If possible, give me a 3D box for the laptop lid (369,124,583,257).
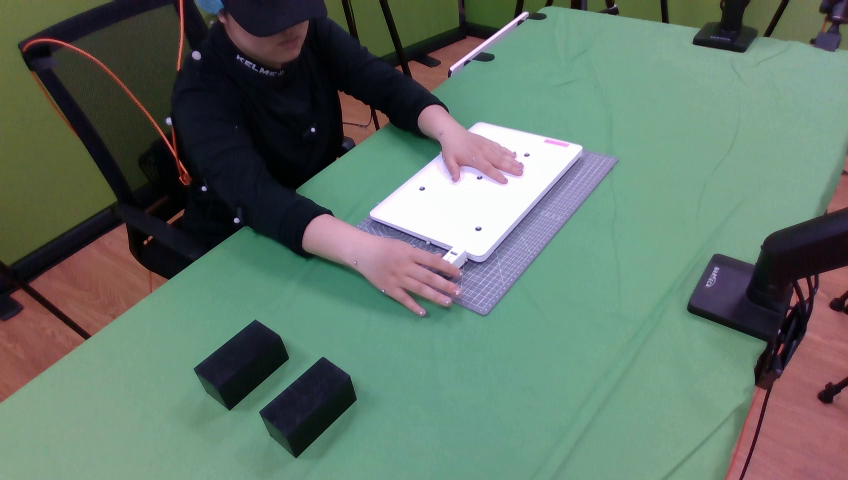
[{"bbox_3d":[0.098,-0.105,1.066,0.239,0.013,0.358,21,48,33],"label":"laptop lid"}]

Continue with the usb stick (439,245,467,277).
[{"bbox_3d":[0.048,0.028,0.912,0.021,0.027,0.059,27,48,30],"label":"usb stick"}]

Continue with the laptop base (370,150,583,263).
[{"bbox_3d":[0.101,-0.096,1.071,0.233,0.023,0.355,19,47,32],"label":"laptop base"}]
